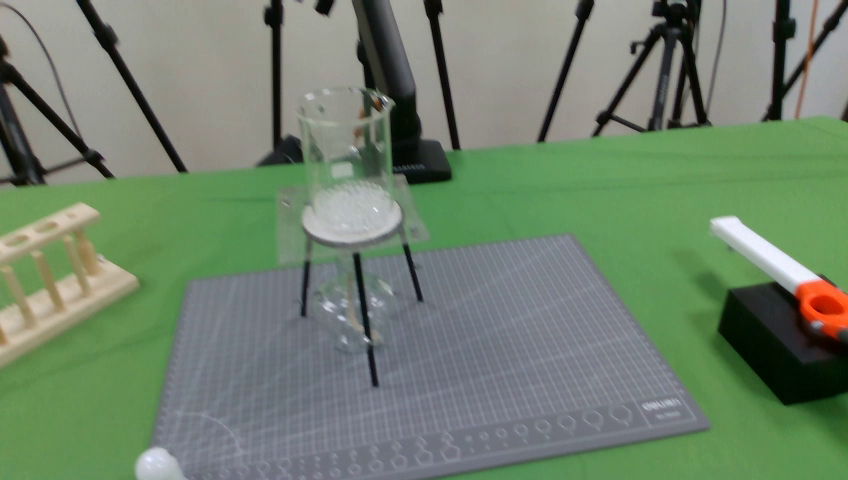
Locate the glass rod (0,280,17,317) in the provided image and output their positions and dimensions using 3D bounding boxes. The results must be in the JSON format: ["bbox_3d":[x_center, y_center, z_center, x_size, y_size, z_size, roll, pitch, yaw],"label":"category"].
[{"bbox_3d":[-0.424,-0.011,0.565,0.008,0.201,0.008,-5,27,3],"label":"glass rod"}]

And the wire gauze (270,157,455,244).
[{"bbox_3d":[-0.055,-0.035,0.510,0.125,0.011,0.120,-16,34,-28],"label":"wire gauze"}]

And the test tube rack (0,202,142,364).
[{"bbox_3d":[-0.409,0.059,0.580,0.066,0.086,0.242,21,40,30],"label":"test tube rack"}]

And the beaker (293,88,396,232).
[{"bbox_3d":[-0.059,-0.065,0.496,0.084,0.101,0.073,-20,39,-26],"label":"beaker"}]

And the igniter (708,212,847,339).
[{"bbox_3d":[0.347,0.045,0.537,0.057,0.025,0.273,-8,31,-9],"label":"igniter"}]

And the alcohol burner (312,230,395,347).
[{"bbox_3d":[-0.067,0.041,0.562,0.078,0.120,0.077,0,33,0],"label":"alcohol burner"}]

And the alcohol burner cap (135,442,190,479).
[{"bbox_3d":[-0.193,0.168,0.441,0.034,0.048,0.033,1,34,0],"label":"alcohol burner cap"}]

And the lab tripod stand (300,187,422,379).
[{"bbox_3d":[-0.058,0.031,0.558,0.148,0.132,0.147,0,35,0],"label":"lab tripod stand"}]
